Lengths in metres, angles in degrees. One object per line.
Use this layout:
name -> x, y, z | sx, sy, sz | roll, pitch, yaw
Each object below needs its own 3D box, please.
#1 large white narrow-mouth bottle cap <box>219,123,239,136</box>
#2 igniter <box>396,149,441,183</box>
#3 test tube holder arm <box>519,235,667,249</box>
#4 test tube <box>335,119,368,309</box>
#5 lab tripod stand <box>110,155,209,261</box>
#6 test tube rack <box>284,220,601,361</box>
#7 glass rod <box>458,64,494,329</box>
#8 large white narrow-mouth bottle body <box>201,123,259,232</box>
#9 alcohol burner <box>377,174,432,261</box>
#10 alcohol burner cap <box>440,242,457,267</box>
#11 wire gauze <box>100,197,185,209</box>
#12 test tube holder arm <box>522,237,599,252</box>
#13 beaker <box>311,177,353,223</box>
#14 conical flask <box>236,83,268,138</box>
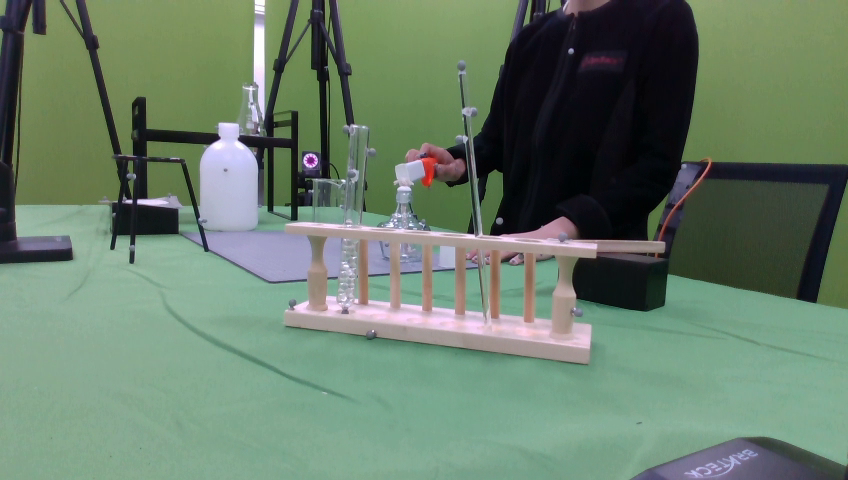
large white narrow-mouth bottle cap -> -0.356, -0.201, 1.104 | 0.038, 0.024, 0.037 | 2, 8, 0
igniter -> -0.004, -0.118, 0.980 | 0.025, 0.057, 0.277 | -12, 7, 12
test tube holder arm -> 0.186, 0.003, 0.655 | 0.179, 0.015, 0.013 | 0, 14, -18
test tube -> -0.057, -0.019, 0.477 | 0.017, 0.150, 0.017 | 5, 9, -1
lab tripod stand -> -0.361, -0.046, 0.806 | 0.148, 0.131, 0.148 | 2, 5, 0
test tube rack -> 0.013, 0.032, 0.482 | 0.242, 0.085, 0.067 | 4, 7, 16
glass rod -> 0.040, -0.029, 0.449 | 0.008, 0.199, 0.008 | -7, 9, 1
large white narrow-mouth bottle body -> -0.358, -0.116, 1.116 | 0.102, 0.194, 0.102 | 2, 8, 0
alcohol burner -> -0.027, -0.031, 0.838 | 0.078, 0.119, 0.078 | 0, 6, 0
alcohol burner cap -> 0.038, 0.011, 0.806 | 0.034, 0.048, 0.034 | 2, 7, 0
wire gauze -> -0.469, -0.062, 1.008 | 0.126, 0.011, 0.121 | -2, 8, -25
test tube holder arm -> 0.144, 0.004, 0.635 | 0.088, 0.015, 0.010 | 0, 14, -19
beaker -> -0.167, -0.064, 1.106 | 0.074, 0.100, 0.083 | -2, 9, -26
conical flask -> -0.400, -0.298, 1.396 | 0.075, 0.122, 0.075 | 2, 8, 0
